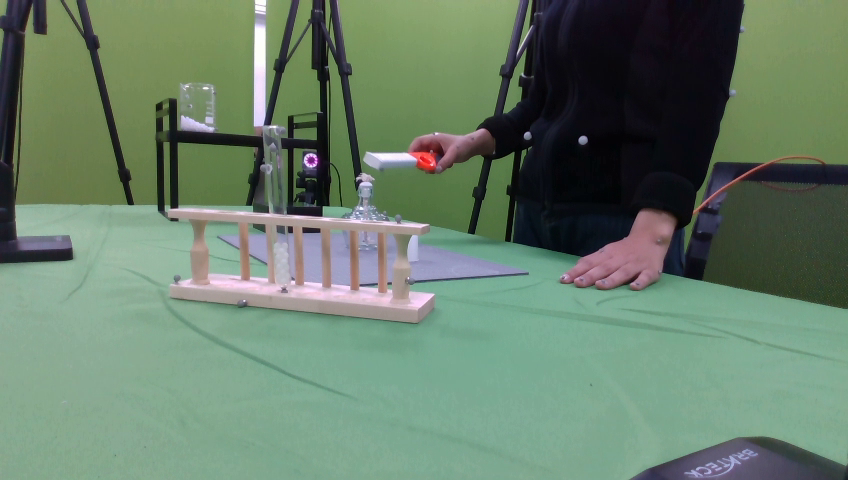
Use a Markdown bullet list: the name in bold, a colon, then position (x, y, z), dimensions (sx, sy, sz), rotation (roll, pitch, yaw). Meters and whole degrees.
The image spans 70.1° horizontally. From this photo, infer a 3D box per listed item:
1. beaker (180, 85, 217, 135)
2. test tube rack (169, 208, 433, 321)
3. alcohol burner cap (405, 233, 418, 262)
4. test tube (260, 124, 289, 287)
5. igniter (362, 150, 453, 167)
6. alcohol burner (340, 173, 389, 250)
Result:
- **beaker**: position (-0.478, -0.275, 1.279), dimensions (0.074, 0.100, 0.084), rotation (4, 8, 15)
- **test tube rack**: position (-0.115, 0.018, 0.574), dimensions (0.242, 0.085, 0.067), rotation (4, 8, 13)
- **alcohol burner cap**: position (-0.024, 0.006, 0.847), dimensions (0.034, 0.048, 0.034), rotation (3, 9, 0)
- **test tube**: position (-0.137, -0.030, 0.554), dimensions (0.017, 0.150, 0.017), rotation (-2, 10, 1)
- **igniter**: position (-0.020, -0.145, 1.078), dimensions (0.057, 0.025, 0.278), rotation (32, 20, 21)
- **alcohol burner**: position (-0.093, -0.045, 0.939), dimensions (0.078, 0.119, 0.078), rotation (0, 7, 0)
